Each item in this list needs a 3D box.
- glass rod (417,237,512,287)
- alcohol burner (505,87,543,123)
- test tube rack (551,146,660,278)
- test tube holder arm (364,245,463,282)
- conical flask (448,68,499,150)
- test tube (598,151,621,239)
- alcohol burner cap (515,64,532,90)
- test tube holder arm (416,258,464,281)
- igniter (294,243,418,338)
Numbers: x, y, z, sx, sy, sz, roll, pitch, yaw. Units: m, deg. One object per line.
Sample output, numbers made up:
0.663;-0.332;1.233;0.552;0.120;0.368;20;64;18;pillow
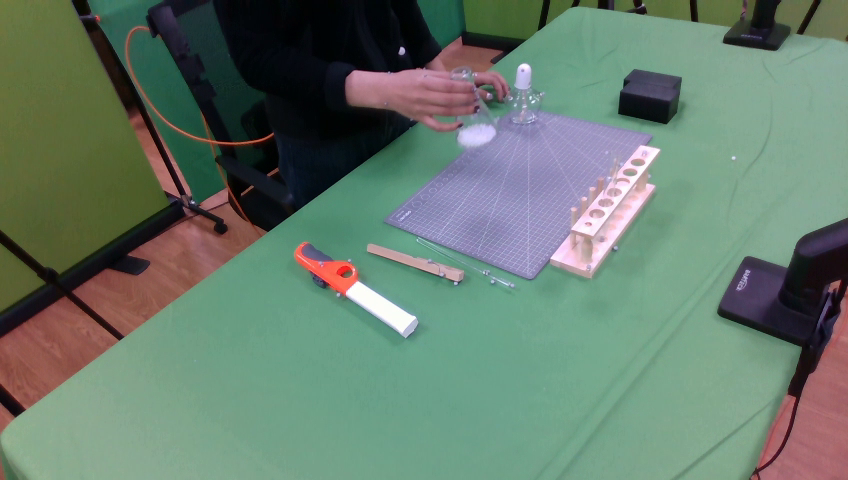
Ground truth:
0.059;0.032;0.945;0.198;0.008;0.008;27;52;38;glass rod
0.202;-0.298;1.222;0.078;0.119;0.077;-4;40;4;alcohol burner
0.286;-0.053;0.943;0.066;0.085;0.243;21;49;32;test tube rack
-0.020;0.035;0.947;0.177;0.015;0.013;16;9;26;test tube holder arm
0.072;-0.211;0.964;0.075;0.122;0.075;-13;40;11;conical flask
0.269;-0.062;0.880;0.017;0.151;0.017;-3;39;3;test tube
0.199;-0.325;1.198;0.034;0.048;0.033;0;46;1;alcohol burner cap
0.022;0.045;0.931;0.087;0.015;0.010;16;10;28;test tube holder arm
-0.113;0.070;0.919;0.274;0.025;0.057;29;63;37;igniter
